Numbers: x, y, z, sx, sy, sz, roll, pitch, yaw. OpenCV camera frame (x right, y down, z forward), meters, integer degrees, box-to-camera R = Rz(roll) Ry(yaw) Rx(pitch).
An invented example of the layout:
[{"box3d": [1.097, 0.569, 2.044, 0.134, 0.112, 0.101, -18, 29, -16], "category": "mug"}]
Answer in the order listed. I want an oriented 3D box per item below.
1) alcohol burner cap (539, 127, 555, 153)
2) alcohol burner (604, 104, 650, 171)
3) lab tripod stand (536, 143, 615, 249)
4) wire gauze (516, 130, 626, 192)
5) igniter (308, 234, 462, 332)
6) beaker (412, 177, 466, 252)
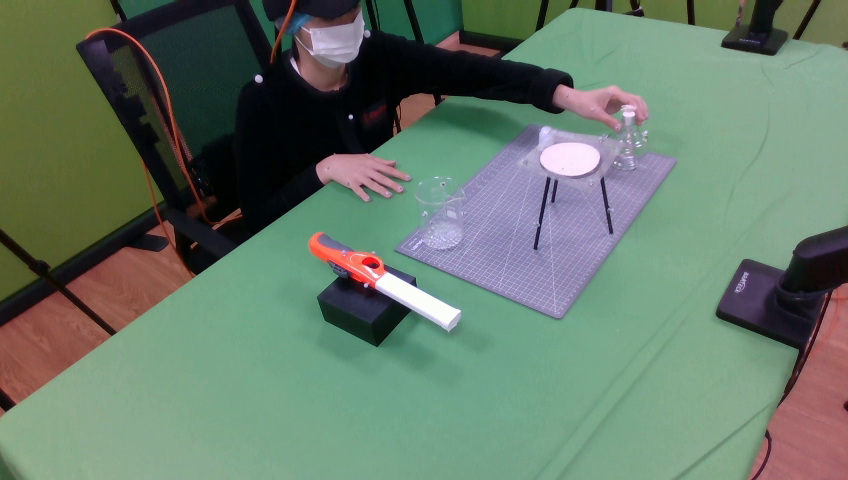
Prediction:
[{"box3d": [0.234, -0.191, 1.147, 0.034, 0.048, 0.033, -6, 40, 5], "category": "alcohol burner cap"}, {"box3d": [0.356, -0.182, 1.060, 0.078, 0.119, 0.077, -6, 40, 6], "category": "alcohol burner"}, {"box3d": [0.224, -0.068, 0.931, 0.148, 0.132, 0.147, -4, 42, 4], "category": "lab tripod stand"}, {"box3d": [0.216, -0.123, 0.892, 0.124, 0.011, 0.122, 22, 49, 31], "category": "wire gauze"}, {"box3d": [-0.066, 0.054, 0.846, 0.274, 0.025, 0.057, 26, 49, 29], "category": "igniter"}, {"box3d": [0.029, -0.038, 0.952, 0.083, 0.101, 0.074, 9, 43, 19], "category": "beaker"}]
